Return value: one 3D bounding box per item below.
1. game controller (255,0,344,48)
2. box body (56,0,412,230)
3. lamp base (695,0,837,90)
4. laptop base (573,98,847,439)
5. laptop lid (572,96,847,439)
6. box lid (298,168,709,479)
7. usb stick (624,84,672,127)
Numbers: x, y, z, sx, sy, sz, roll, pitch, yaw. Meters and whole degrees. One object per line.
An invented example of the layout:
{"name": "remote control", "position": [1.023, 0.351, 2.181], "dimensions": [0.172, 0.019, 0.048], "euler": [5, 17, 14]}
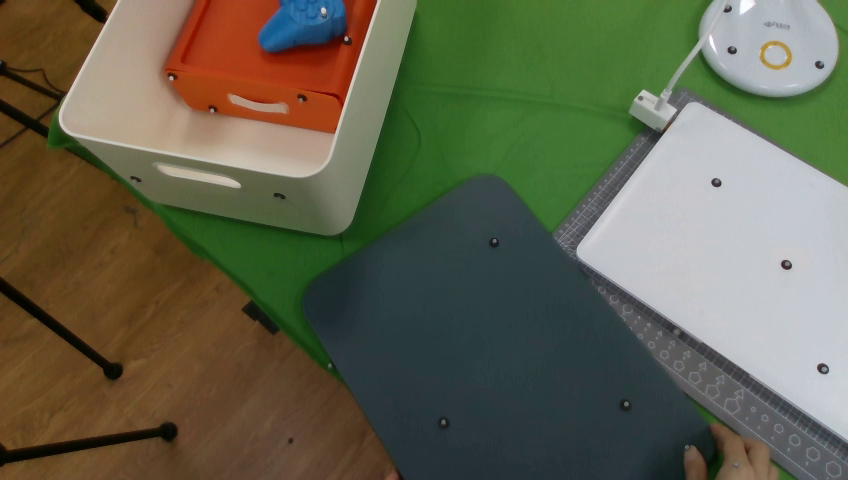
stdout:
{"name": "game controller", "position": [-0.136, -0.286, 0.664], "dimensions": [0.097, 0.052, 0.154], "euler": [-2, 68, -2]}
{"name": "box body", "position": [-0.168, -0.210, 0.654], "dimensions": [0.254, 0.161, 0.362], "euler": [11, 69, 6]}
{"name": "lamp base", "position": [0.401, -0.287, 0.653], "dimensions": [0.160, 0.181, 0.178], "euler": [0, 65, 2]}
{"name": "laptop base", "position": [0.360, 0.024, 0.619], "dimensions": [0.352, 0.023, 0.235], "euler": [36, 78, 15]}
{"name": "laptop lid", "position": [0.357, 0.021, 0.607], "dimensions": [0.354, 0.013, 0.241], "euler": [38, 77, 15]}
{"name": "box lid", "position": [0.066, 0.117, 0.599], "dimensions": [0.263, 0.015, 0.369], "euler": [-33, 72, -10]}
{"name": "usb stick", "position": [0.255, -0.146, 0.676], "dimensions": [0.059, 0.027, 0.021], "euler": [41, 70, 13]}
